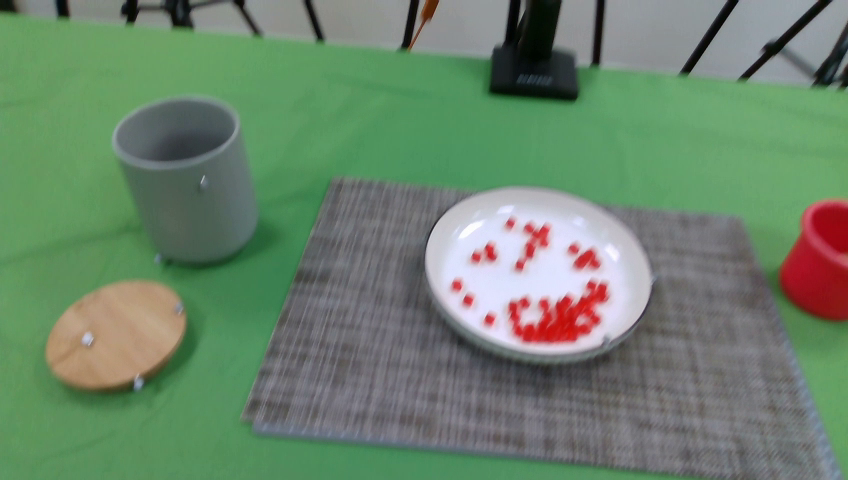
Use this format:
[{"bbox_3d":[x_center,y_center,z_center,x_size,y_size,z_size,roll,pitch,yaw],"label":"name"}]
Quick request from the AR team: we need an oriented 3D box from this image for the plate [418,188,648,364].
[{"bbox_3d":[0.097,0.032,0.563,0.208,0.039,0.205,2,45,-2],"label":"plate"}]

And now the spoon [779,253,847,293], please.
[{"bbox_3d":[0.423,0.005,0.540,0.193,0.022,0.041,-29,33,33],"label":"spoon"}]

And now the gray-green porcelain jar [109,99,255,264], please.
[{"bbox_3d":[-0.218,-0.049,0.565,0.106,0.127,0.105,2,45,-2],"label":"gray-green porcelain jar"}]

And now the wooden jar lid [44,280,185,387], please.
[{"bbox_3d":[-0.257,0.079,0.510,0.108,0.021,0.107,3,45,-3],"label":"wooden jar lid"}]
